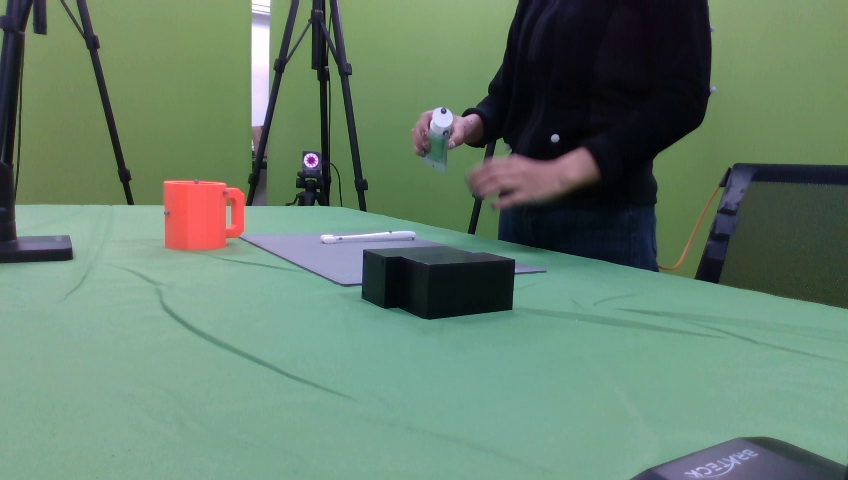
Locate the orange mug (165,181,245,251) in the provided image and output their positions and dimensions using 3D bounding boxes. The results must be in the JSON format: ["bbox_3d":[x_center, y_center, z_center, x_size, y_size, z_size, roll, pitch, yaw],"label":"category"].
[{"bbox_3d":[-0.326,-0.040,0.911,0.083,0.101,0.127,8,14,37],"label":"orange mug"}]

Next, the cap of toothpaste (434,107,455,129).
[{"bbox_3d":[0.033,-0.202,0.995,0.037,0.037,0.011,0,-9,-12],"label":"cap of toothpaste"}]

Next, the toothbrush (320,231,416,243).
[{"bbox_3d":[-0.090,-0.006,1.025,0.183,0.014,0.016,-3,13,-34],"label":"toothbrush"}]

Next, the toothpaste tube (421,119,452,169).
[{"bbox_3d":[0.027,-0.174,1.072,0.055,0.034,0.165,32,-19,6],"label":"toothpaste tube"}]
